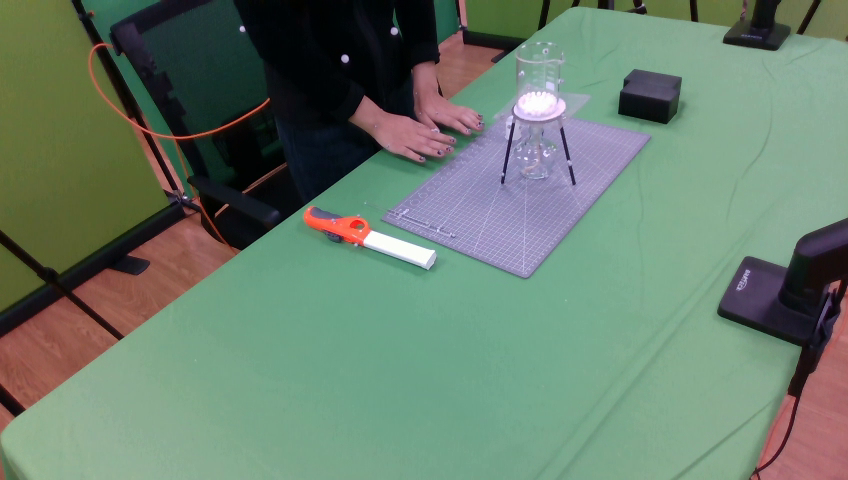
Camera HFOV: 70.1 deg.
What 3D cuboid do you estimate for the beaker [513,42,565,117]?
[{"bbox_3d":[0.187,-0.257,0.981,0.083,0.101,0.074,21,49,29],"label":"beaker"}]

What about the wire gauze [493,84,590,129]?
[{"bbox_3d":[0.197,-0.223,1.013,0.120,0.011,0.125,21,47,28],"label":"wire gauze"}]

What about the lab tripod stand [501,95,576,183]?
[{"bbox_3d":[0.204,-0.174,1.057,0.148,0.132,0.147,-4,40,4],"label":"lab tripod stand"}]

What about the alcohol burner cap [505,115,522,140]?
[{"bbox_3d":[0.175,-0.223,1.192,0.034,0.048,0.033,-6,40,5],"label":"alcohol burner cap"}]

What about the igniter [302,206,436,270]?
[{"bbox_3d":[-0.101,-0.007,1.004,0.274,0.025,0.057,19,58,30],"label":"igniter"}]

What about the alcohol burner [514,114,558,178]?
[{"bbox_3d":[0.198,-0.170,1.069,0.078,0.119,0.077,-4,40,4],"label":"alcohol burner"}]

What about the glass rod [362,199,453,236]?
[{"bbox_3d":[-0.031,-0.041,1.041,0.198,0.008,0.008,22,50,31],"label":"glass rod"}]
